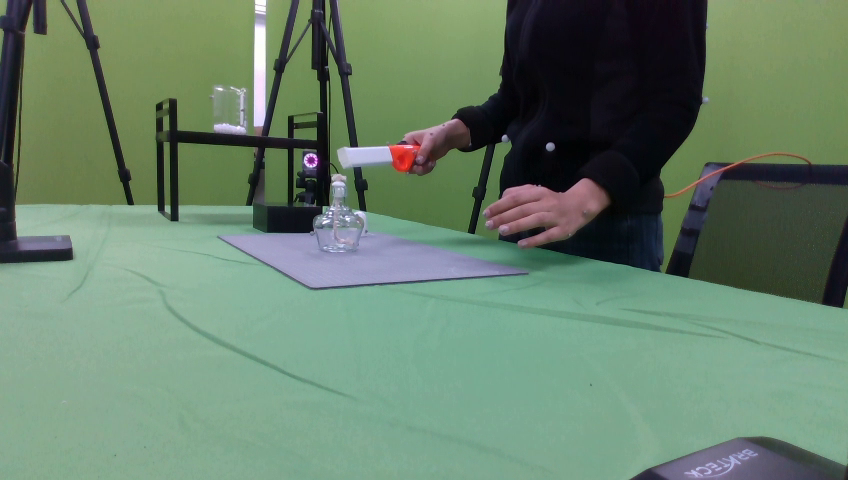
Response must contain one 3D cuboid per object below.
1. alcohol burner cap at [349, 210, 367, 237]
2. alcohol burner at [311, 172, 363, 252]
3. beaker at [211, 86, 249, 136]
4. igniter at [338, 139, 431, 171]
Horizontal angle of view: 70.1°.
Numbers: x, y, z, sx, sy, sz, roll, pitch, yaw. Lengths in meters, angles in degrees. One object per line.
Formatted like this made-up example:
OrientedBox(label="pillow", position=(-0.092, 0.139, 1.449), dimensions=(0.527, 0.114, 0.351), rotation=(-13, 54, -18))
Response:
OrientedBox(label="alcohol burner cap", position=(-0.118, -0.030, 1.095), dimensions=(0.034, 0.048, 0.034), rotation=(2, 8, 0))
OrientedBox(label="alcohol burner", position=(-0.129, -0.042, 0.906), dimensions=(0.078, 0.119, 0.078), rotation=(2, 5, 0))
OrientedBox(label="beaker", position=(-0.413, -0.274, 1.297), dimensions=(0.074, 0.100, 0.083), rotation=(-5, 11, -44))
OrientedBox(label="igniter", position=(-0.057, -0.145, 1.040), dimensions=(0.025, 0.057, 0.278), rotation=(-16, 1, 29))
